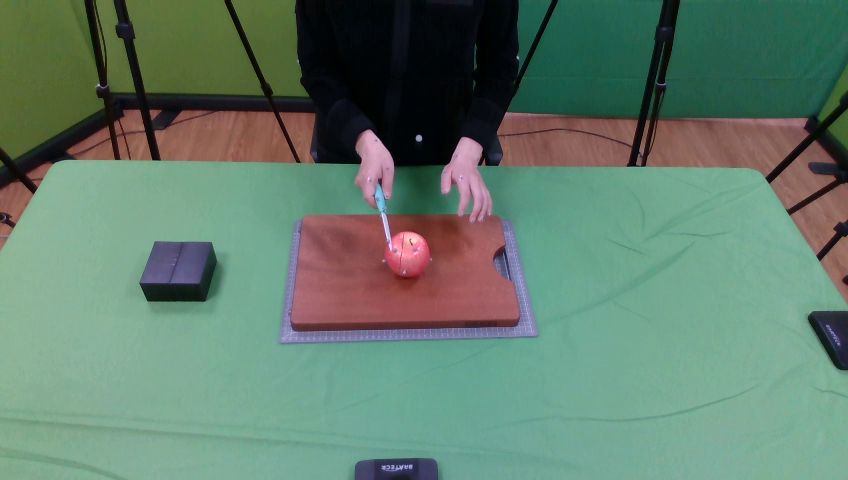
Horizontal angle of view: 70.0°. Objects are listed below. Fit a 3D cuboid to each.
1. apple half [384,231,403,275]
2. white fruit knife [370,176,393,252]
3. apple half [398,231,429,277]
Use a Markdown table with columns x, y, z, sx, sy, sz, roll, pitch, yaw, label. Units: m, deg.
| x | y | z | sx | sy | sz | roll | pitch | yaw | label |
| --- | --- | --- | --- | --- | --- | --- | --- | --- | --- |
| -0.056 | 0.025 | 1.092 | 0.033 | 0.081 | 0.081 | 5 | 46 | -3 | apple half |
| -0.073 | -0.051 | 1.068 | 0.016 | 0.027 | 0.206 | -27 | 43 | 10 | white fruit knife |
| -0.018 | 0.028 | 1.095 | 0.053 | 0.075 | 0.080 | 6 | 42 | -4 | apple half |
